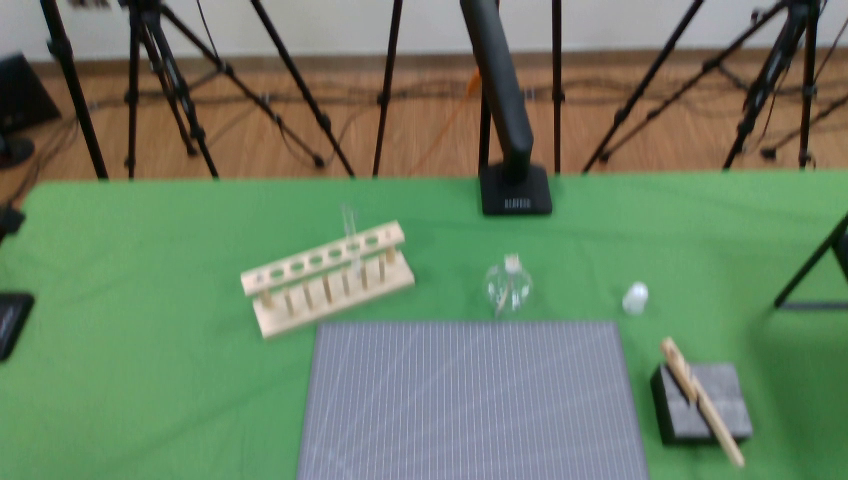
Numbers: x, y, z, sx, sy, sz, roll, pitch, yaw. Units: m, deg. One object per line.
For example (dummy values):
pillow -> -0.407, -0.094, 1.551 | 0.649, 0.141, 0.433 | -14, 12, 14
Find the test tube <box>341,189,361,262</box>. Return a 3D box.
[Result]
test tube -> -0.106, -0.017, 0.892 | 0.017, 0.151, 0.017 | -1, 49, 1

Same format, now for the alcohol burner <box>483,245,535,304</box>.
alcohol burner -> 0.126, 0.043, 0.891 | 0.078, 0.120, 0.077 | 0, 56, 0

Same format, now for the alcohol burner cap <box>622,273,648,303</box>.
alcohol burner cap -> 0.321, 0.070, 0.913 | 0.034, 0.048, 0.033 | -1, 54, 2

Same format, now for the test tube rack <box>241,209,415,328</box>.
test tube rack -> -0.138, 0.042, 0.911 | 0.243, 0.086, 0.066 | -20, 56, -13

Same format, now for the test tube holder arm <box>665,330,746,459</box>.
test tube holder arm -> 0.357, 0.194, 0.780 | 0.013, 0.015, 0.176 | -16, 57, -13

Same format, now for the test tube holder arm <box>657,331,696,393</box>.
test tube holder arm -> 0.336, 0.161, 0.802 | 0.010, 0.015, 0.087 | -15, 57, -12
